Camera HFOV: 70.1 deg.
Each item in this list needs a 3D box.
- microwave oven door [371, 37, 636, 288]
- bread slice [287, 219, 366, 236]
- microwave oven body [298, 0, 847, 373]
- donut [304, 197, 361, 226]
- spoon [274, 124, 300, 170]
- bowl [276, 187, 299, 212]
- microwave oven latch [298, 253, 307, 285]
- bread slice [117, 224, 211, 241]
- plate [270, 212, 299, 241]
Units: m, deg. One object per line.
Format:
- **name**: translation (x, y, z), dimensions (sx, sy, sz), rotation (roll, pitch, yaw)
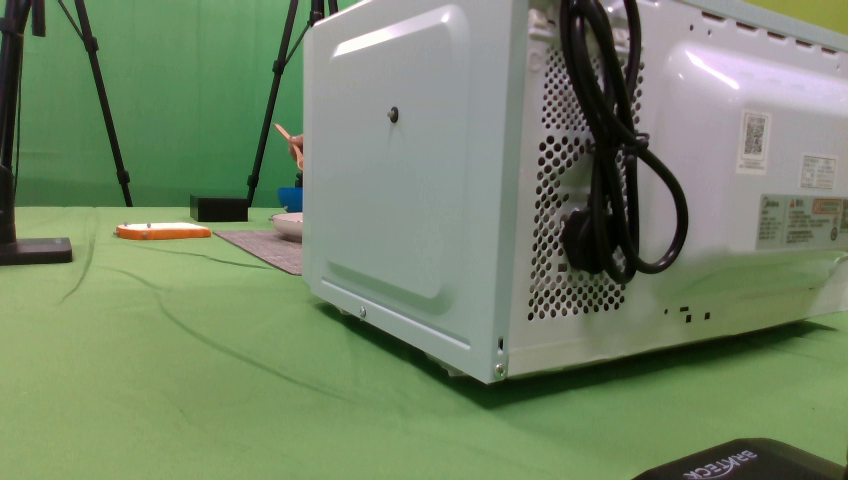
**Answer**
- **microwave oven door**: translation (0.109, -0.080, 0.686), dimensions (0.358, 0.243, 0.039), rotation (-2, 9, -33)
- **bread slice**: translation (-0.170, -0.022, 1.056), dimensions (0.134, 0.018, 0.107), rotation (2, 7, -6)
- **microwave oven body**: translation (0.151, -0.055, 0.542), dimensions (0.444, 0.260, 0.324), rotation (-2, 7, -33)
- **donut**: translation (-0.159, -0.050, 1.055), dimensions (0.099, 0.048, 0.099), rotation (3, 8, 0)
- **spoon**: translation (-0.278, -0.196, 1.294), dimensions (0.042, 0.021, 0.193), rotation (-2, 44, -41)
- **bowl**: translation (-0.241, -0.073, 1.302), dimensions (0.151, 0.077, 0.151), rotation (2, 7, 0)
- **microwave oven latch**: translation (-0.081, 0.027, 0.582), dimensions (0.079, 0.029, 0.030), rotation (-1, 7, -32)
- **bread slice**: translation (-0.443, -0.015, 1.022), dimensions (0.132, 0.019, 0.104), rotation (-3, 8, -45)
- **plate**: translation (-0.162, -0.022, 1.058), dimensions (0.208, 0.039, 0.207), rotation (2, 7, 0)
